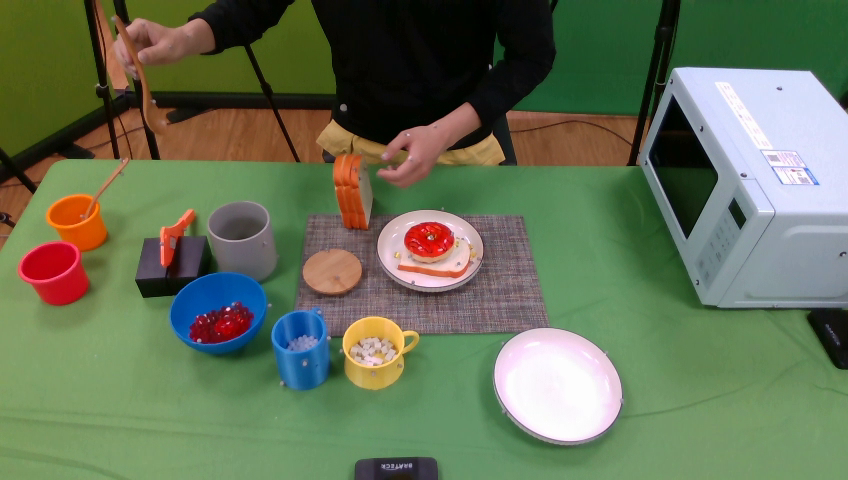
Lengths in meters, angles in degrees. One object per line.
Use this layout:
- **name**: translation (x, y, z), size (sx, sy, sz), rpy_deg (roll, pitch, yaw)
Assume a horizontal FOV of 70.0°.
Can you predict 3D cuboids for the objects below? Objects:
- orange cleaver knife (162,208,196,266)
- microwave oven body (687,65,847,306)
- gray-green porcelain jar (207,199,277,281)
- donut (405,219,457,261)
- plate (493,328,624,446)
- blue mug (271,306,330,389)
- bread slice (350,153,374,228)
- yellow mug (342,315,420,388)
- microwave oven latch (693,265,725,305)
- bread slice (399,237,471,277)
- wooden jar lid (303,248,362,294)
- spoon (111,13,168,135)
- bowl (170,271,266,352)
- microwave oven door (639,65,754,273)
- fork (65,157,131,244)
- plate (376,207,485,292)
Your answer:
- **orange cleaver knife**: translation (-0.454, -0.010, 1.129), size (0.012, 0.077, 0.210), rpy_deg (-1, 17, -6)
- **microwave oven body**: translation (0.669, -0.111, 1.176), size (0.326, 0.261, 0.439), rpy_deg (0, 46, -3)
- **gray-green porcelain jar**: translation (-0.323, 0.007, 1.092), size (0.106, 0.127, 0.105), rpy_deg (2, 46, -1)
- **donut**: translation (0.012, -0.001, 1.141), size (0.099, 0.048, 0.098), rpy_deg (0, 44, 0)
- **plate**: translation (0.213, 0.236, 0.974), size (0.208, 0.039, 0.206), rpy_deg (2, 46, -2)
- **blue mug**: translation (-0.188, 0.163, 0.969), size (0.082, 0.106, 0.116), rpy_deg (15, 47, 10)
- **bread slice**: translation (-0.124, -0.104, 1.207), size (0.018, 0.135, 0.106), rpy_deg (-1, 48, 7)
- **yellow mug**: translation (-0.068, 0.177, 0.990), size (0.131, 0.064, 0.099), rpy_deg (-15, 50, -19)
- **microwave oven latch**: translation (0.522, 0.081, 1.115), size (0.030, 0.029, 0.078), rpy_deg (2, 46, -1)
- **bread slice**: translation (0.026, 0.024, 1.161), size (0.131, 0.019, 0.104), rpy_deg (8, 48, 7)
- **wooden jar lid**: translation (-0.169, 0.059, 1.122), size (0.108, 0.021, 0.107), rpy_deg (2, 46, -2)
- **spoon**: translation (-0.441, -0.254, 0.942), size (0.021, 0.195, 0.041), rpy_deg (5, 37, 12)
- **bowl**: translation (-0.333, 0.132, 1.006), size (0.151, 0.077, 0.150), rpy_deg (2, 46, -2)
- **microwave oven door**: translation (0.522, -0.147, 1.192), size (0.039, 0.245, 0.353), rpy_deg (0, 47, -3)
- **fork**: translation (-0.608, -0.074, 1.132), size (0.207, 0.019, 0.028), rpy_deg (-52, 48, 10)
- **plate**: translation (0.012, 0.021, 1.159), size (0.209, 0.038, 0.208), rpy_deg (2, 47, -2)
